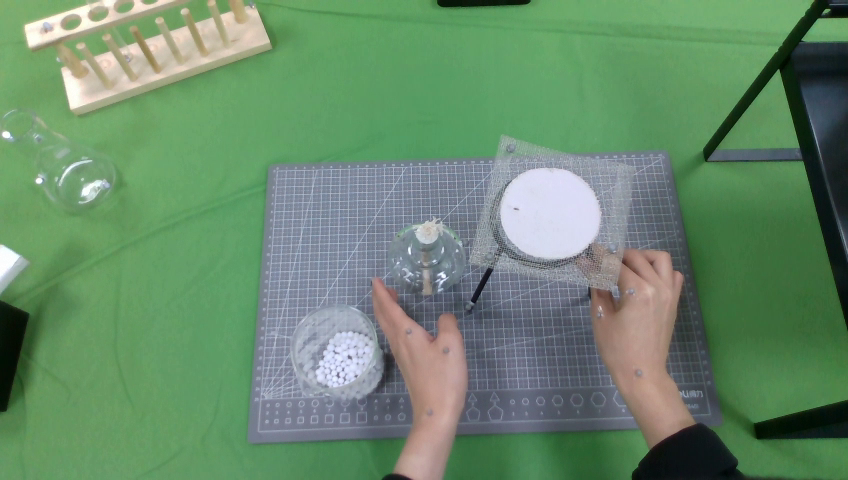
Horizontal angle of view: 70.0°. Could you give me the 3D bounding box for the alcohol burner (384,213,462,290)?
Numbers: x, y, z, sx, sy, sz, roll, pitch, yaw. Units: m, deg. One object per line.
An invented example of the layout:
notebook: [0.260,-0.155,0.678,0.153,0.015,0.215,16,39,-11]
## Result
alcohol burner: [-0.001,0.005,0.583,0.078,0.120,0.077,1,67,-1]

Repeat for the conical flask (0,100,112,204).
conical flask: [-0.385,-0.094,0.623,0.075,0.122,0.075,0,68,1]

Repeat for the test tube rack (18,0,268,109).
test tube rack: [-0.315,-0.240,0.699,0.242,0.086,0.066,-22,70,-8]

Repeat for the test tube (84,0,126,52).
test tube: [-0.359,-0.261,0.654,0.017,0.151,0.017,0,62,0]

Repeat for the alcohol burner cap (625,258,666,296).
alcohol burner cap: [0.224,0.035,0.608,0.034,0.048,0.033,0,69,1]

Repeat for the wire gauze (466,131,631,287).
wire gauze: [0.108,-0.029,0.512,0.121,0.011,0.124,14,70,4]

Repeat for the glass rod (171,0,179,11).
glass rod: [-0.294,-0.299,0.650,0.008,0.201,0.008,-3,62,6]

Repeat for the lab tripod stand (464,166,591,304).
lab tripod stand: [0.102,0.001,0.573,0.148,0.132,0.147,0,67,-1]

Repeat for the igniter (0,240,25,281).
igniter: [-0.470,0.115,0.543,0.057,0.025,0.275,25,70,20]

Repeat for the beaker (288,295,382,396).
beaker: [-0.078,0.104,0.553,0.074,0.101,0.083,27,72,12]
